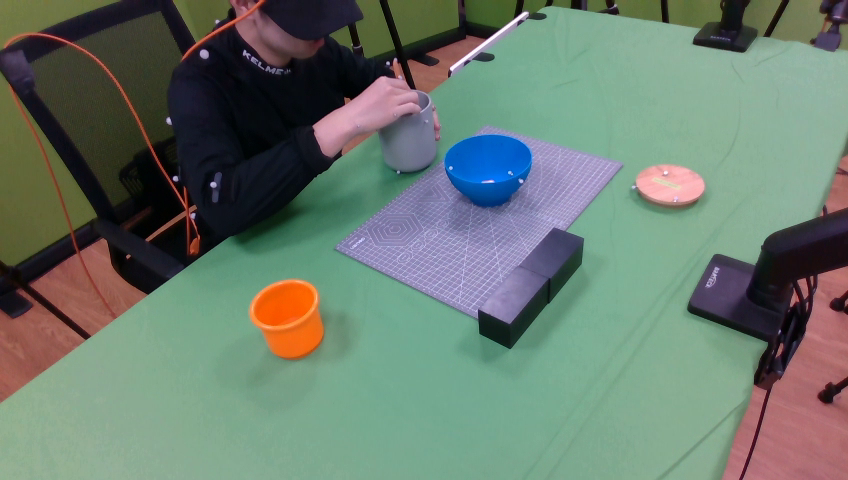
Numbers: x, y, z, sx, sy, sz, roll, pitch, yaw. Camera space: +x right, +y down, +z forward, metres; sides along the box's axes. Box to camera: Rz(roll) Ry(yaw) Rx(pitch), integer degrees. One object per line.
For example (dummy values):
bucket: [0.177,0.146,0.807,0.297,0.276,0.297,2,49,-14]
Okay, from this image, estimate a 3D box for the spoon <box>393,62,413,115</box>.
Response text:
spoon: [-0.021,-0.228,1.090,0.021,0.195,0.041,-7,35,30]

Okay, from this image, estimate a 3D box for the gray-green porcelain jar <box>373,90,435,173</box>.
gray-green porcelain jar: [-0.034,-0.198,1.125,0.106,0.127,0.105,-4,41,4]

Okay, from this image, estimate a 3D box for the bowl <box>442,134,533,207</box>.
bowl: [0.110,-0.109,1.033,0.151,0.077,0.150,-4,41,4]

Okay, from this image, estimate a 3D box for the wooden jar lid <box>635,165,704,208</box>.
wooden jar lid: [0.411,-0.089,1.014,0.108,0.021,0.108,-5,41,5]
